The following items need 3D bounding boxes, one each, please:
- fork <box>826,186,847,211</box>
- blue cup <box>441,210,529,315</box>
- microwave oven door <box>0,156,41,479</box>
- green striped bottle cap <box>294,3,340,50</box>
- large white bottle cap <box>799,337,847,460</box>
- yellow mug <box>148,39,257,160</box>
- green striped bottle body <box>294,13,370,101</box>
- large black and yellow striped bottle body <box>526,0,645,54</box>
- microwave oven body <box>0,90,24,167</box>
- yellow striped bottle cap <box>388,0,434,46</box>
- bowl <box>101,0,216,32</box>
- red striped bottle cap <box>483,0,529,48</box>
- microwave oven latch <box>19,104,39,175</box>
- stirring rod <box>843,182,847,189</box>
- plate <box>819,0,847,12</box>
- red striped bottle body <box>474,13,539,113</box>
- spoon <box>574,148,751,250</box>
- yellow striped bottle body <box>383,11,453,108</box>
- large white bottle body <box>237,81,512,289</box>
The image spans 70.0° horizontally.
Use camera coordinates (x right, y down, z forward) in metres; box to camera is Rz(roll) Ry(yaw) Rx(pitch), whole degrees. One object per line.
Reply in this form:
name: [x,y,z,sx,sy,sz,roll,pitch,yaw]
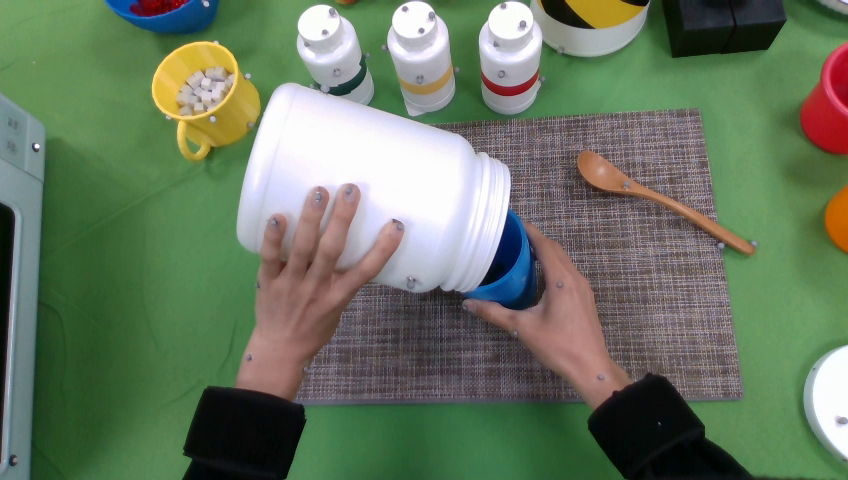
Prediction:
fork: [0.441,-0.012,0.510,0.028,0.205,0.019,-23,115,-14]
blue cup: [0.058,0.026,0.558,0.092,0.101,0.092,-7,64,15]
microwave oven door: [-0.441,0.059,0.529,0.039,0.245,0.353,-12,71,4]
green striped bottle cap: [-0.107,-0.213,0.604,0.044,0.020,0.044,-2,71,5]
large white bottle cap: [0.397,0.142,0.536,0.115,0.018,0.114,-2,71,6]
yellow mug: [-0.254,-0.153,0.686,0.100,0.064,0.130,8,74,9]
green striped bottle body: [-0.100,-0.197,0.653,0.063,0.120,0.063,-2,71,6]
large black and yellow striped bottle body: [0.172,-0.296,0.618,0.130,0.185,0.130,-2,72,7]
microwave oven body: [-0.590,0.050,0.556,0.326,0.262,0.438,-11,72,3]
yellow striped bottle cap: [-0.013,-0.214,0.593,0.044,0.019,0.044,-2,73,6]
bowl: [-0.308,-0.310,0.738,0.151,0.077,0.150,-2,72,6]
red striped bottle cap: [0.079,-0.208,0.579,0.044,0.018,0.044,-1,70,3]
microwave oven latch: [-0.463,-0.113,0.695,0.030,0.030,0.078,-10,72,4]
stirring rod: [0.414,-0.014,0.522,0.014,0.006,0.175,0,29,5]
plate: [0.493,-0.330,0.667,0.209,0.038,0.208,-2,72,6]
red striped bottle body: [0.087,-0.190,0.629,0.063,0.120,0.062,-4,68,11]
spoon: [0.237,-0.040,0.609,0.193,0.022,0.041,29,53,14]
yellow striped bottle body: [-0.006,-0.197,0.641,0.063,0.121,0.062,-3,71,8]
large white bottle body: [-0.036,-0.036,0.472,0.185,0.131,0.130,14,73,-8]
